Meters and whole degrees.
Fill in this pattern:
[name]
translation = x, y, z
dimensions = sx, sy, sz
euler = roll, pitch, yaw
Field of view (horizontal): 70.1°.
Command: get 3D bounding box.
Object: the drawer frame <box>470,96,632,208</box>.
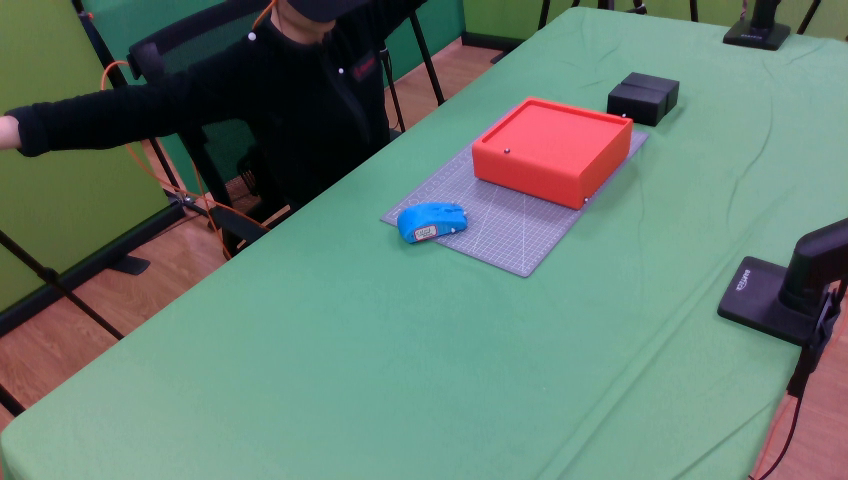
[drawer frame]
translation = 0.227, -0.164, 1.081
dimensions = 0.212, 0.083, 0.202
euler = 23, 49, 31

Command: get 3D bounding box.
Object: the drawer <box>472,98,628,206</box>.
[drawer]
translation = 0.225, -0.163, 1.082
dimensions = 0.210, 0.073, 0.195
euler = 23, 49, 32

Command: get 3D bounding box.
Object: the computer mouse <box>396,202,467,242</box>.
[computer mouse]
translation = 0.012, -0.035, 1.005
dimensions = 0.117, 0.041, 0.062
euler = -11, 38, -8
